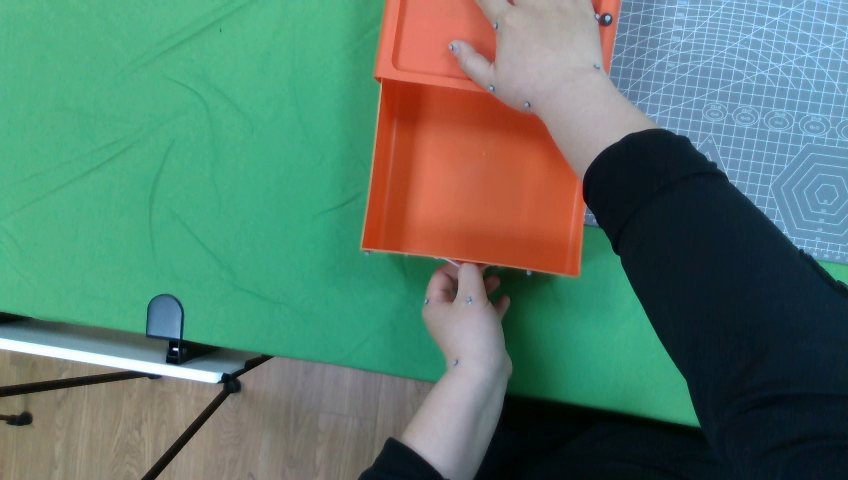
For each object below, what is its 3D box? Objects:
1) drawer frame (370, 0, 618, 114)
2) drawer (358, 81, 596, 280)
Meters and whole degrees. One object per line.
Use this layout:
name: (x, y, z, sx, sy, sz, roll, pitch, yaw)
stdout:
drawer frame: (0.069, -0.225, 0.543, 0.201, 0.083, 0.213, 9, 94, 8)
drawer: (0.052, -0.077, 0.552, 0.194, 0.073, 0.211, 7, 91, 9)
